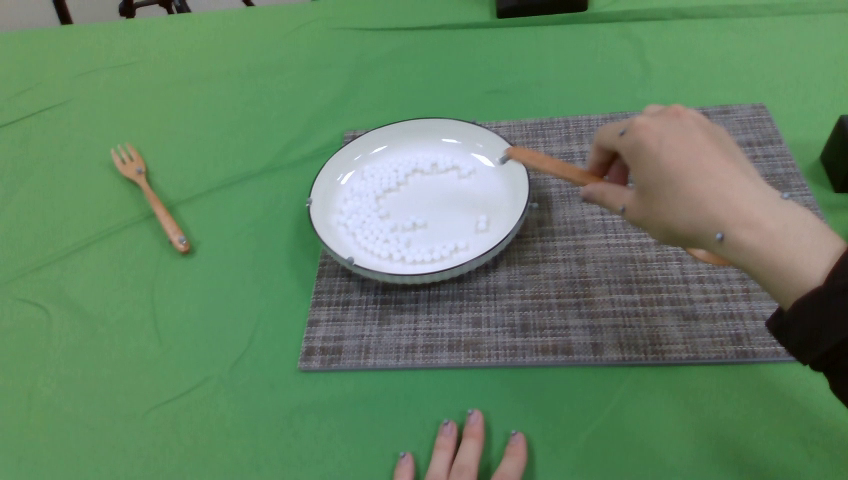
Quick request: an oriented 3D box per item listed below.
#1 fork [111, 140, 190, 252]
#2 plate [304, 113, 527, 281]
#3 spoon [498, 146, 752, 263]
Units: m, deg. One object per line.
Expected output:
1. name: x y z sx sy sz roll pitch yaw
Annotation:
1. fork: -0.289 -0.049 0.639 0.028 0.019 0.205 -28 50 -23
2. plate: -0.007 -0.041 0.573 0.207 0.039 0.205 -4 50 5
3. spoon: 0.143 -0.034 0.452 0.193 0.022 0.041 26 81 14
